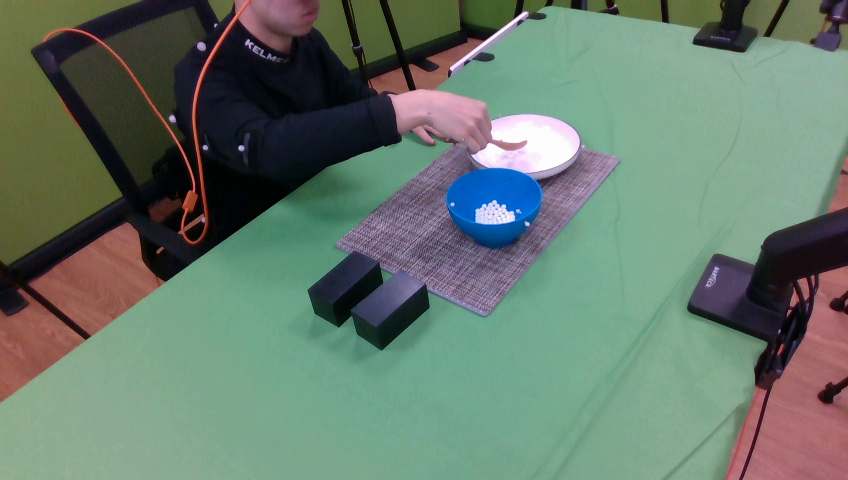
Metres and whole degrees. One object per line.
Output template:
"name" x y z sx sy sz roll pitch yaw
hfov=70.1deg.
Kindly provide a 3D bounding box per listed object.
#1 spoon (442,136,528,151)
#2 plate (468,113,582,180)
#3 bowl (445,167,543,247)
"spoon" 0.107 -0.170 1.047 0.195 0.021 0.041 0 3 -37
"plate" 0.186 -0.169 1.122 0.207 0.039 0.206 -4 41 4
"bowl" 0.111 -0.041 0.952 0.151 0.077 0.150 -4 41 4
